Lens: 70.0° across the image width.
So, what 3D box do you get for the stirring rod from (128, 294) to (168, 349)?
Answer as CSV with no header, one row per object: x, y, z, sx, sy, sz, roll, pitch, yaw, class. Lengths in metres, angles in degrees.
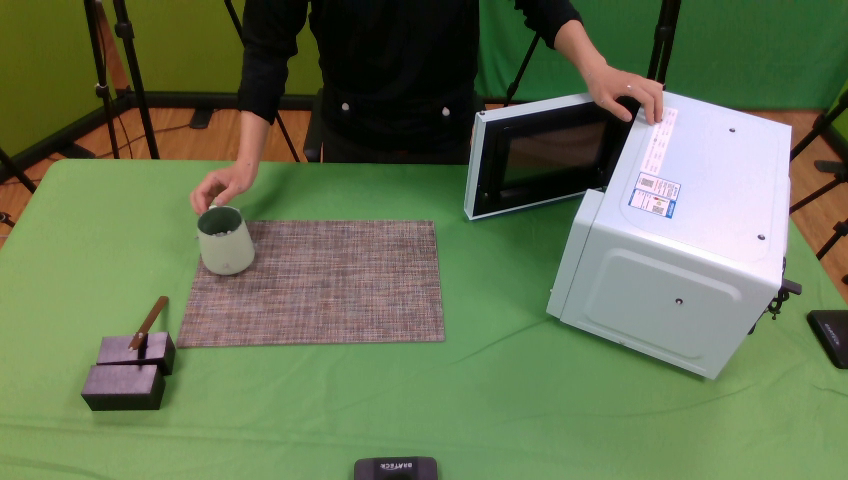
-0.451,0.131,0.996,0.014,0.006,0.175,9,20,-10,stirring rod

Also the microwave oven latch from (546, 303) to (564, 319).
0.242,0.102,1.081,0.030,0.029,0.079,21,48,17,microwave oven latch

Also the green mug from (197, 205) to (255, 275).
-0.370,-0.008,1.114,0.092,0.105,0.124,-19,50,-20,green mug

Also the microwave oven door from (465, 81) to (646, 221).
0.259,-0.177,1.209,0.356,0.245,0.039,-14,48,-16,microwave oven door

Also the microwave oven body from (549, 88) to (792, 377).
0.456,-0.028,1.088,0.325,0.261,0.440,20,47,16,microwave oven body
